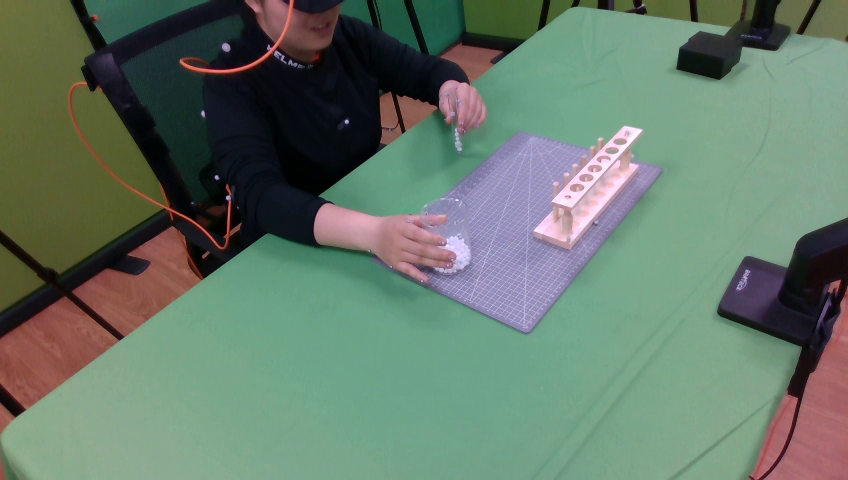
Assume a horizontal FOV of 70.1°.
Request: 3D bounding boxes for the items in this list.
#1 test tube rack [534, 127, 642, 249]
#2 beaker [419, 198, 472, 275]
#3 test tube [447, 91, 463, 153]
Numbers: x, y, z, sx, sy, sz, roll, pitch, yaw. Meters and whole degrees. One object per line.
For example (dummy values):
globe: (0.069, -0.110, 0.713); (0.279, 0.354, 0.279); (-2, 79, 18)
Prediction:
test tube rack: (0.271, -0.095, 0.990); (0.066, 0.085, 0.243); (23, 49, 33)
beaker: (0.037, -0.004, 0.916); (0.073, 0.101, 0.084); (24, 49, 33)
test tube: (0.058, -0.213, 1.109); (0.017, 0.151, 0.017); (-4, 57, 7)
